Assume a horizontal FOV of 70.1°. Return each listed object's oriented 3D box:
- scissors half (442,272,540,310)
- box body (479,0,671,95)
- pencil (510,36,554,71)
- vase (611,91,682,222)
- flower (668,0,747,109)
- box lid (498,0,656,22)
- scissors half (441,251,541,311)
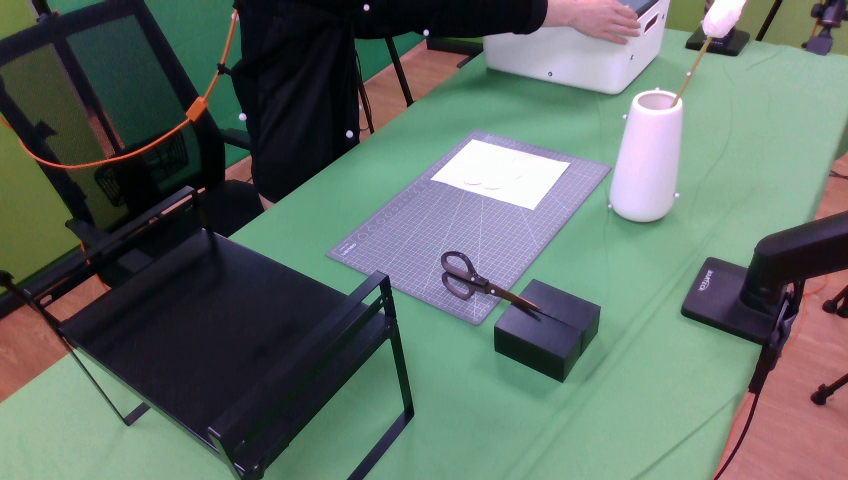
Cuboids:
[{"bbox_3d":[0.089,0.074,0.832,0.013,0.040,0.173,-24,23,-38],"label":"scissors half"},{"bbox_3d":[0.339,-0.480,1.382,0.361,0.161,0.255,22,48,30],"label":"box body"},{"bbox_3d":[0.263,-0.453,1.469,0.012,0.012,0.194,25,52,32],"label":"pencil"},{"bbox_3d":[0.348,-0.125,0.935,0.098,0.201,0.097,-3,40,3],"label":"vase"},{"bbox_3d":[0.354,-0.187,0.879,0.038,0.362,0.044,31,48,14],"label":"flower"},{"bbox_3d":[0.331,-0.554,1.317,0.368,0.015,0.264,25,51,31],"label":"box lid"},{"bbox_3d":[0.087,0.056,0.824,0.173,0.040,0.013,29,44,36],"label":"scissors half"}]
